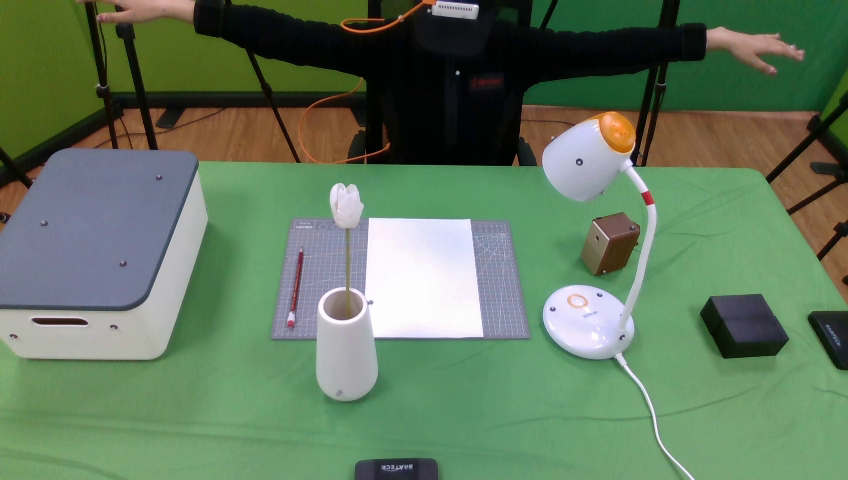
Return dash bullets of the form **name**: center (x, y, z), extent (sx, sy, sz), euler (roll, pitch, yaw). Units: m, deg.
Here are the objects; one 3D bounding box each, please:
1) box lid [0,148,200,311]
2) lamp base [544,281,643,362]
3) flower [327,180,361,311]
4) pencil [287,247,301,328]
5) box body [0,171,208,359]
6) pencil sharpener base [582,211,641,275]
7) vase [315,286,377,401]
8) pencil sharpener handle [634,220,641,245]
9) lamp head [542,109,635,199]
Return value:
- **box lid**: center (-0.536, -0.034, 0.989), extent (0.263, 0.015, 0.369), euler (1, 45, -3)
- **lamp base**: center (0.303, 0.095, 1.014), extent (0.161, 0.181, 0.178), euler (-24, 54, -24)
- **flower**: center (-0.110, 0.087, 0.867), extent (0.044, 0.363, 0.038), euler (22, 33, 36)
- **pencil**: center (-0.236, 0.081, 1.107), extent (0.012, 0.012, 0.193), euler (0, 45, -4)
- **box body**: center (-0.541, 0.021, 1.042), extent (0.254, 0.161, 0.361), euler (1, 46, -3)
- **pencil sharpener base**: center (0.357, 0.005, 1.155), extent (0.077, 0.107, 0.061), euler (-15, 48, -18)
- **vase**: center (-0.119, 0.159, 0.911), extent (0.098, 0.201, 0.097), euler (2, 47, -2)
- **pencil sharpener handle**: center (0.405, -0.015, 1.161), extent (0.031, 0.068, 0.035), euler (-15, 44, -18)
- **lamp head**: center (0.253, -0.131, 0.893), extent (0.113, 0.123, 0.112), euler (10, 66, -24)
